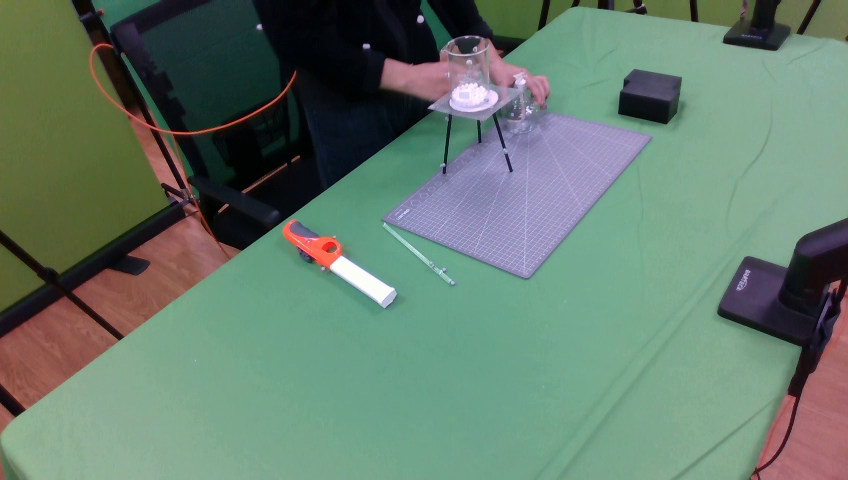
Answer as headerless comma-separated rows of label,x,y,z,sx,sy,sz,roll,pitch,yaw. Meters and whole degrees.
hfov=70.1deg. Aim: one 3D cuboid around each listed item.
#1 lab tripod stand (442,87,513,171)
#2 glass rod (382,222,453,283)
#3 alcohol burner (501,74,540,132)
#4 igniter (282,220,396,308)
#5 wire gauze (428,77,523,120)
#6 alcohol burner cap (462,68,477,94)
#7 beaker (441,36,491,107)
lab tripod stand,0.097,-0.201,1.108,0.148,0.132,0.147,-4,40,4
glass rod,-0.014,0.016,0.976,0.008,0.008,0.198,-30,44,-22
alcohol burner,0.190,-0.274,1.192,0.078,0.119,0.077,-4,42,4
igniter,-0.146,0.032,0.966,0.274,0.025,0.057,30,64,37
wire gauze,0.090,-0.249,1.063,0.120,0.011,0.125,24,48,30
alcohol burner cap,0.089,-0.317,1.197,0.034,0.048,0.033,-4,37,3
beaker,0.074,-0.287,1.036,0.084,0.101,0.073,-1,41,8
